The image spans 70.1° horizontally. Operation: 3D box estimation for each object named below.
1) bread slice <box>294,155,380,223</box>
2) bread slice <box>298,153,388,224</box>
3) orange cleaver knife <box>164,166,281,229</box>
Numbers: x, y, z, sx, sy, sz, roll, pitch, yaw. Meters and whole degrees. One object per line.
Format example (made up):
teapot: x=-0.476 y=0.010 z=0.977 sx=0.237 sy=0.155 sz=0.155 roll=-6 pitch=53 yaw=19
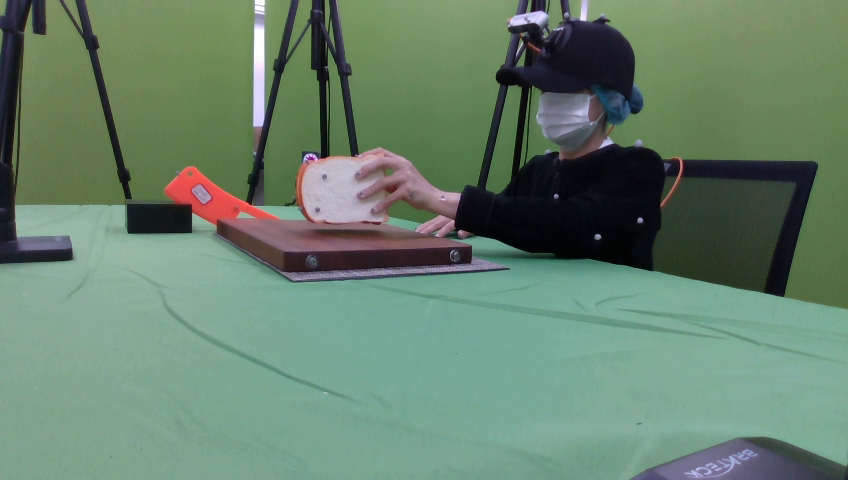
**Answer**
bread slice: x=-0.138 y=-0.079 z=0.956 sx=0.132 sy=0.105 sz=0.019 roll=-6 pitch=6 yaw=-18
bread slice: x=-0.120 y=-0.072 z=0.910 sx=0.135 sy=0.107 sz=0.018 roll=-8 pitch=4 yaw=-22
orange cleaver knife: x=-0.369 y=-0.061 z=1.121 sx=0.212 sy=0.077 sz=0.012 roll=31 pitch=-8 yaw=-29
